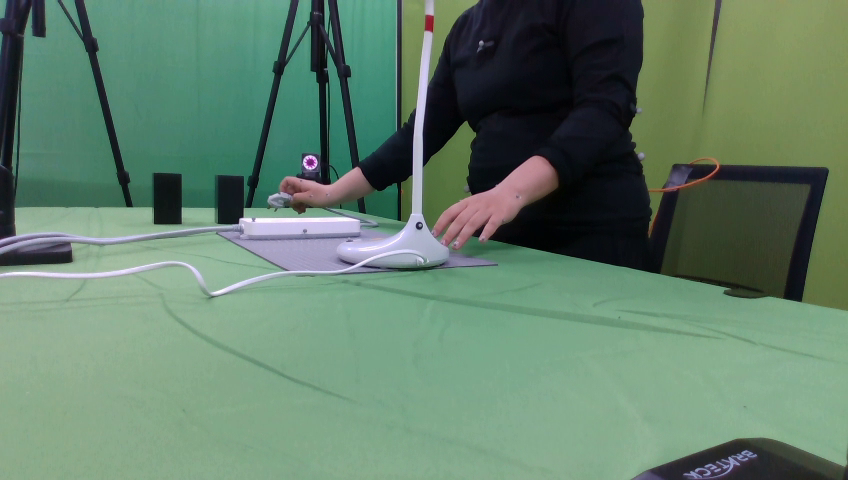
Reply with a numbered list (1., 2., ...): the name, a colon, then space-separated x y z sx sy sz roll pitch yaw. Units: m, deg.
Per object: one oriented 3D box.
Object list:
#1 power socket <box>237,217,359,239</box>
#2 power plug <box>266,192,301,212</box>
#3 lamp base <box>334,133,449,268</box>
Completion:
1. power socket: -0.221 -0.023 1.080 0.228 0.032 0.072 -2 8 -32
2. power plug: -0.325 -0.082 1.387 0.073 0.052 0.035 23 32 -26
3. lamp base: -0.034 -0.058 0.831 0.161 0.180 0.178 -3 12 -36
